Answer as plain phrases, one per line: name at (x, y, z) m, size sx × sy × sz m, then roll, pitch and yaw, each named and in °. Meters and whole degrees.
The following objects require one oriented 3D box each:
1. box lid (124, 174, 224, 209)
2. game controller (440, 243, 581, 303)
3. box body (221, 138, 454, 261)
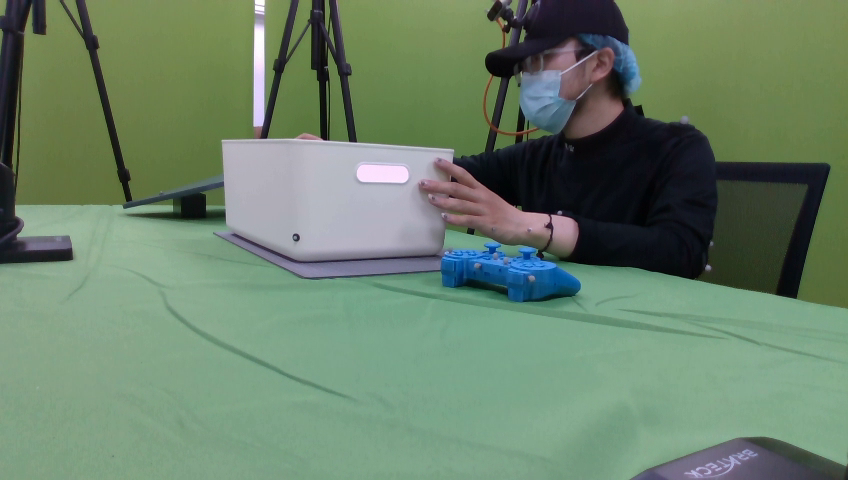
box lid at (-0.460, -0.136, 1.379) m, size 0.262 × 0.015 × 0.372 m, roll -8°, pitch 14°, yaw 26°
game controller at (0.091, 0.033, 0.686) m, size 0.154 × 0.051 × 0.097 m, roll 8°, pitch 13°, yaw 42°
box body at (-0.152, -0.074, 0.963) m, size 0.255 × 0.160 × 0.362 m, roll -3°, pitch 9°, yaw -33°
